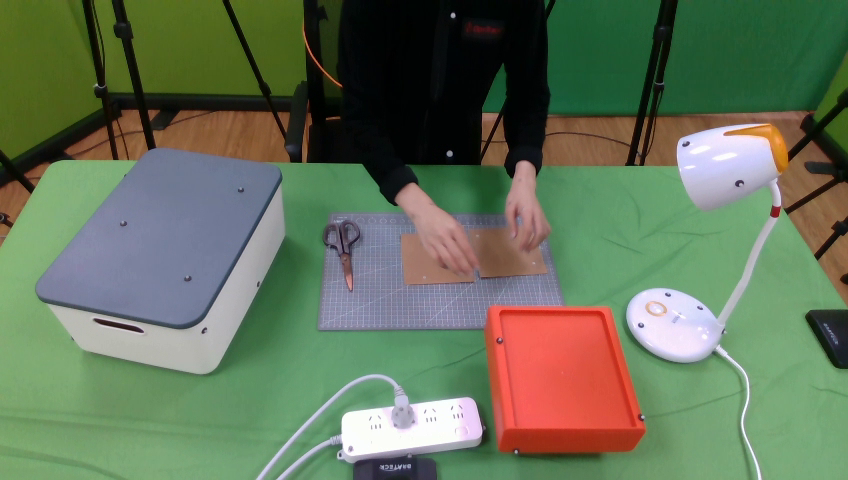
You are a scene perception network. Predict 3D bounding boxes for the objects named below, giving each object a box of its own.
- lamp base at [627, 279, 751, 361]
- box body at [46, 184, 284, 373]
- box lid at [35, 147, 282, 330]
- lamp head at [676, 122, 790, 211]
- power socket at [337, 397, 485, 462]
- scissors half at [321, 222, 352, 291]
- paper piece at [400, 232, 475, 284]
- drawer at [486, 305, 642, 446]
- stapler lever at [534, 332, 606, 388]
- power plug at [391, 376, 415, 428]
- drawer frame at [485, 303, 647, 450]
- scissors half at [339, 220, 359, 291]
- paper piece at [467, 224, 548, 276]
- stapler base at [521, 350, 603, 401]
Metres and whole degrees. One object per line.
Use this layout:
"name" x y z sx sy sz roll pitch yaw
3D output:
"lamp base" 0.460 0.100 1.027 0.178 0.181 0.160 27 51 17
"box body" -0.414 0.029 1.039 0.254 0.161 0.362 10 46 5
"box lid" -0.411 -0.023 0.987 0.263 0.015 0.369 10 47 5
"lamp head" 0.423 -0.104 0.819 0.122 0.113 0.112 -13 33 40
"power socket" -0.018 0.285 0.915 0.227 0.033 0.071 -4 46 -8
"scissors half" -0.163 0.031 1.160 0.040 0.013 0.174 -17 51 -14
"paper piece" 0.024 0.032 1.175 0.135 0.004 0.135 0 46 -6
"drawer" 0.202 0.200 0.919 0.195 0.073 0.210 2 47 -4
"stapler lever" 0.225 0.182 0.929 0.118 0.040 0.027 26 34 15
"power plug" -0.030 0.249 0.917 0.035 0.053 0.072 3 46 0
"drawer frame" 0.204 0.202 0.917 0.202 0.083 0.212 1 47 -4
"scissors half" -0.144 0.026 1.162 0.040 0.013 0.174 -7 50 1
"paper piece" 0.163 0.019 1.199 0.136 0.009 0.137 -1 45 -10
"stapler base" 0.217 0.203 0.942 0.130 0.024 0.041 26 34 16
